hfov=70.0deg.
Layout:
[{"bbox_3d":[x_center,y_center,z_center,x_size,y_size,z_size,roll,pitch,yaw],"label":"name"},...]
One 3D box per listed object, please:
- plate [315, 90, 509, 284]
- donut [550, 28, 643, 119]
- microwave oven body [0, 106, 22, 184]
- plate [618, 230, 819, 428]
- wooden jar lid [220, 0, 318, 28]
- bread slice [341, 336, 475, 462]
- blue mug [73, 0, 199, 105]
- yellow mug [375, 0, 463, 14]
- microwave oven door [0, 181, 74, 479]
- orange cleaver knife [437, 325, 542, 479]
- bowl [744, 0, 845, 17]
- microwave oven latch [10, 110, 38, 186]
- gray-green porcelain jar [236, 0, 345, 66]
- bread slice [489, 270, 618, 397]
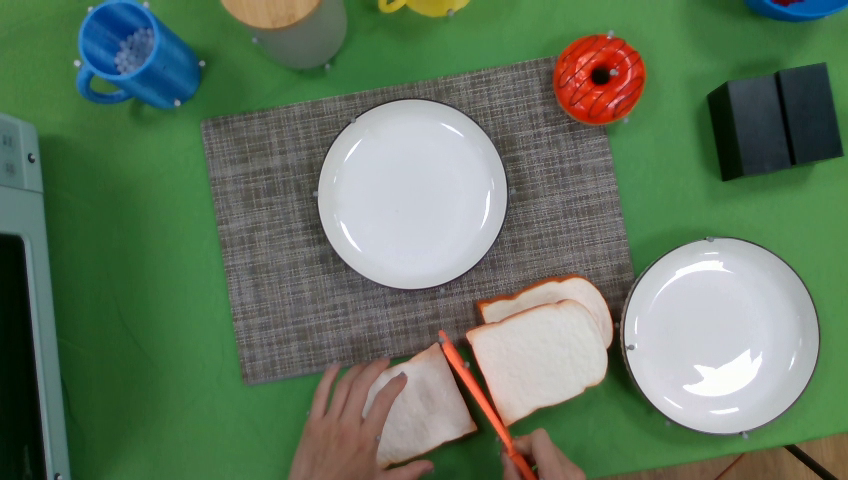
[{"bbox_3d":[-0.012,-0.056,0.662,0.207,0.039,0.207,0,88,2],"label":"plate"},{"bbox_3d":[0.186,-0.181,0.658,0.099,0.048,0.099,0,89,1],"label":"donut"},{"bbox_3d":[-0.574,0.090,0.561,0.326,0.260,0.441,-7,89,1],"label":"microwave oven body"},{"bbox_3d":[0.311,0.094,0.653,0.209,0.038,0.209,0,88,2],"label":"plate"},{"bbox_3d":[-0.143,-0.250,0.569,0.108,0.021,0.108,0,86,2],"label":"wooden jar lid"},{"bbox_3d":[-0.024,0.177,0.664,0.131,0.019,0.105,-25,89,-1],"label":"bread slice"},{"bbox_3d":[-0.313,-0.188,0.643,0.116,0.106,0.082,-36,87,0],"label":"blue mug"},{"bbox_3d":[-0.003,-0.299,0.659,0.131,0.064,0.100,-42,88,1],"label":"yellow mug"},{"bbox_3d":[-0.423,0.115,0.552,0.039,0.244,0.355,-7,88,2],"label":"microwave oven door"},{"bbox_3d":[0.073,0.180,0.629,0.012,0.077,0.211,-33,89,1],"label":"orange cleaver knife"},{"bbox_3d":[0.384,-0.301,0.643,0.151,0.077,0.151,0,89,2],"label":"bowl"},{"bbox_3d":[-0.444,-0.099,0.659,0.030,0.029,0.079,-6,89,1],"label":"microwave oven latch"},{"bbox_3d":[-0.141,-0.247,0.631,0.106,0.126,0.105,0,88,2],"label":"gray-green porcelain jar"},{"bbox_3d":[0.142,0.089,0.625,0.135,0.018,0.106,-17,84,-27],"label":"bread slice"}]
